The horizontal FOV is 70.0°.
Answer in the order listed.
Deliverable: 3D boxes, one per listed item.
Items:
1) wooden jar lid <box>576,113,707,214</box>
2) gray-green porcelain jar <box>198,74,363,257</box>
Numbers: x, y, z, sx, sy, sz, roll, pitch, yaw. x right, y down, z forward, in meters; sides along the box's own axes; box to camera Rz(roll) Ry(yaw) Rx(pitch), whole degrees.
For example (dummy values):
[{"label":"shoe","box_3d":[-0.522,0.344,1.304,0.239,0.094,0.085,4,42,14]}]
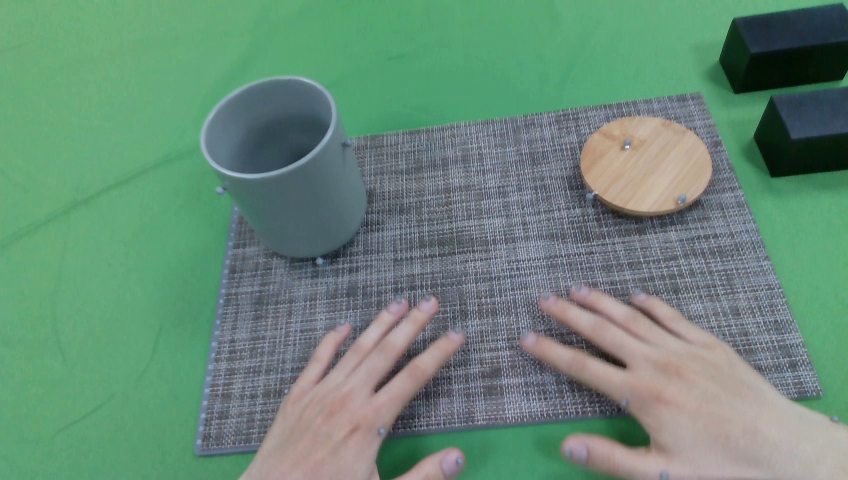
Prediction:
[{"label":"wooden jar lid","box_3d":[0.188,-0.066,0.530,0.108,0.021,0.107,-4,59,7]},{"label":"gray-green porcelain jar","box_3d":[-0.110,-0.054,0.505,0.106,0.128,0.105,-4,57,6]}]
